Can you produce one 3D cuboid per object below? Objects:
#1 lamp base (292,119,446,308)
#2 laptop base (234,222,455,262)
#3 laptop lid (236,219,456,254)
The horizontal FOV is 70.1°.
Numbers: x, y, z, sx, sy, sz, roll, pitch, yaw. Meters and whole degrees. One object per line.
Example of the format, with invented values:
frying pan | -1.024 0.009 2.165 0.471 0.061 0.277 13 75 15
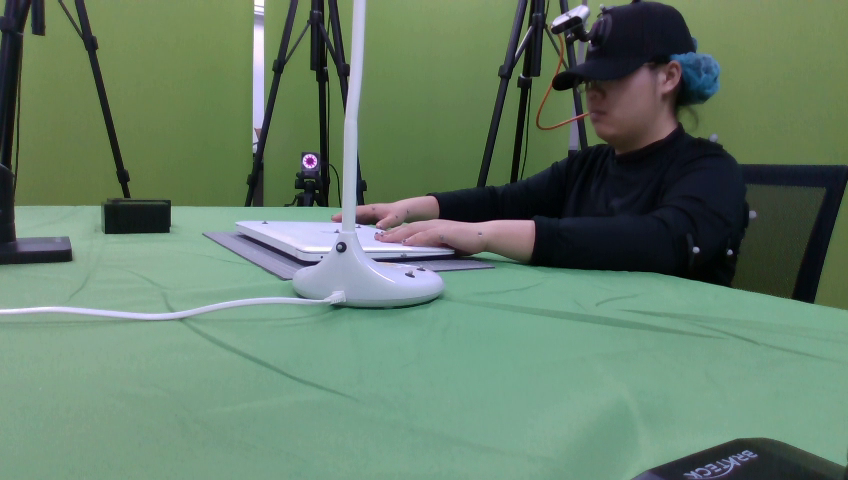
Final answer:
lamp base | -0.056 -0.030 0.616 0.160 0.180 0.179 4 10 8
laptop base | -0.141 0.003 0.959 0.237 0.023 0.352 3 6 -32
laptop lid | -0.139 -0.008 0.958 0.243 0.013 0.355 1 7 -31
